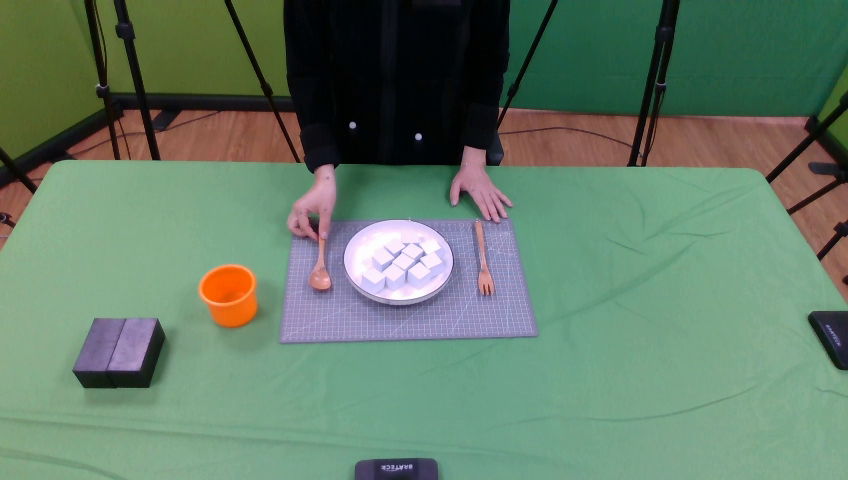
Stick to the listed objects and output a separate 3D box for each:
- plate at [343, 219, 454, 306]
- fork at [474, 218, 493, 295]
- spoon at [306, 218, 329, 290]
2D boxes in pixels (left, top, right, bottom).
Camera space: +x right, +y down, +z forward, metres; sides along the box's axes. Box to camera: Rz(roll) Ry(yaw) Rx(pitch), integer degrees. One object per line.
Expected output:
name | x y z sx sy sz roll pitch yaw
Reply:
plate | -0.047 0.045 1.136 0.208 0.039 0.206 2 46 -2
fork | 0.112 0.029 1.177 0.028 0.019 0.206 -3 48 0
spoon | -0.199 0.023 1.153 0.042 0.022 0.192 9 46 -15
